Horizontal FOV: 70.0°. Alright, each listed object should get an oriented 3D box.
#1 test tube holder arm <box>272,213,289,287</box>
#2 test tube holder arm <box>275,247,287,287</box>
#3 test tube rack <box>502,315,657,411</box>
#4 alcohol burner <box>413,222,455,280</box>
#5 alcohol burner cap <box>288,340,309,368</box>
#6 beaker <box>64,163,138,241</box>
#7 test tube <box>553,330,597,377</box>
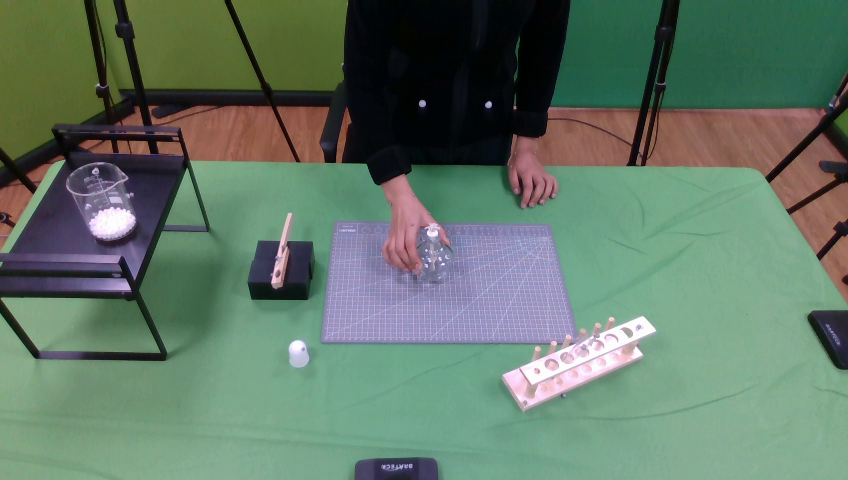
[{"bbox_3d":[-0.259,0.015,1.099,0.013,0.015,0.177,-1,45,-5],"label":"test tube holder arm"},{"bbox_3d":[-0.251,0.046,1.068,0.010,0.015,0.087,0,45,-4],"label":"test tube holder arm"},{"bbox_3d":[0.253,0.186,0.989,0.242,0.085,0.066,-18,50,-20],"label":"test tube rack"},{"bbox_3d":[0.017,0.015,1.092,0.078,0.120,0.077,-1,44,1],"label":"alcohol burner"},{"bbox_3d":[-0.207,0.182,0.991,0.034,0.048,0.033,3,46,-3],"label":"alcohol burner cap"},{"bbox_3d":[-0.477,-0.055,0.910,0.084,0.101,0.073,-9,48,-13],"label":"beaker"},{"bbox_3d":[0.226,0.176,0.924,0.017,0.151,0.017,6,55,-9],"label":"test tube"}]
